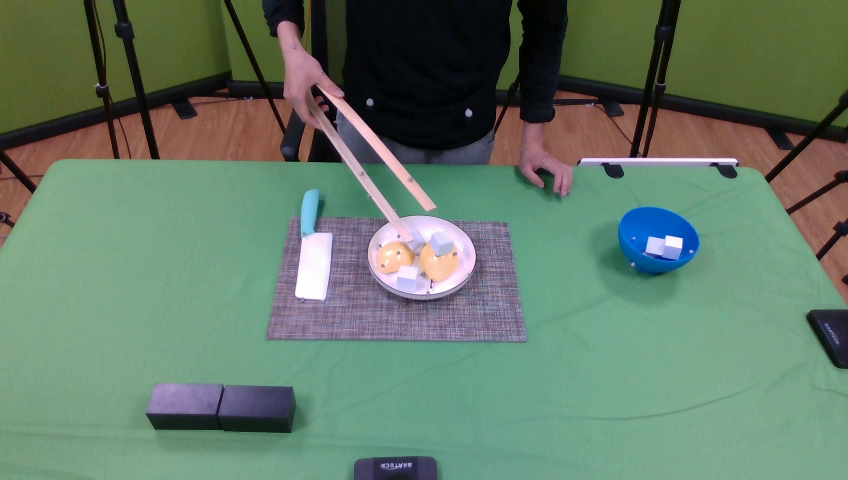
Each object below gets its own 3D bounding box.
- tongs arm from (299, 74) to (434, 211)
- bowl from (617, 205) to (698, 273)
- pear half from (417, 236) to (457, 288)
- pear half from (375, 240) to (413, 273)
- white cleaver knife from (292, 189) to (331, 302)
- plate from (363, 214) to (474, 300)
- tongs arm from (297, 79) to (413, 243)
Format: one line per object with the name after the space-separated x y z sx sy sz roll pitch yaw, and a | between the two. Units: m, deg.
-0.110 -0.186 1.100 0.028 0.028 0.386 -26 65 -36 | tongs arm
0.444 0.011 1.182 0.151 0.077 0.150 2 46 -2 | bowl
0.022 0.039 1.127 0.076 0.056 0.109 5 50 7 | pear half
-0.059 0.026 1.145 0.070 0.031 0.088 22 43 20 | pear half
-0.215 0.006 1.178 0.066 0.021 0.284 5 49 -12 | white cleaver knife
-0.010 0.036 1.146 0.208 0.039 0.206 2 46 -2 | plate
-0.131 -0.155 1.137 0.026 0.051 0.383 -24 68 -39 | tongs arm
